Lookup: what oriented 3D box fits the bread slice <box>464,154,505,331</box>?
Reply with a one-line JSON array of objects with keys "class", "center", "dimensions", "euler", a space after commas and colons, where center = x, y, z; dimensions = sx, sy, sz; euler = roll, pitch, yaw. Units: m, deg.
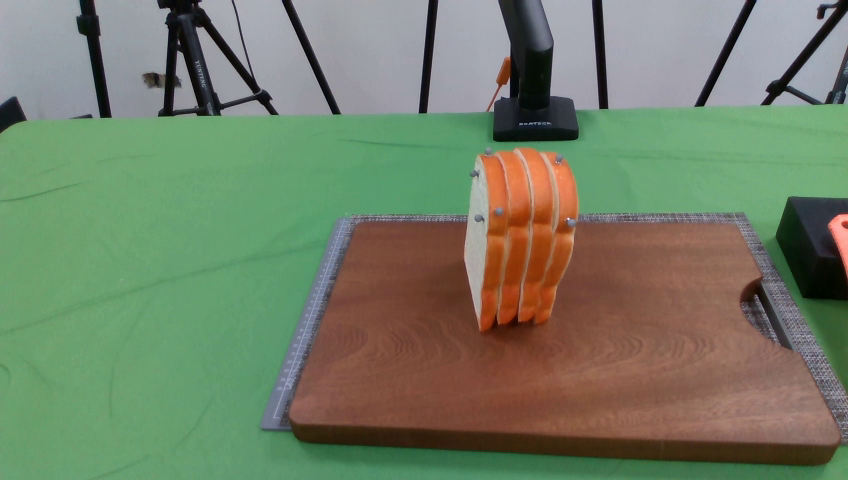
[{"class": "bread slice", "center": [0.052, -0.006, 0.529], "dimensions": [0.018, 0.135, 0.106], "euler": [-2, 33, -4]}]

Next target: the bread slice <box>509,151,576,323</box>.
[{"class": "bread slice", "center": [0.102, -0.008, 0.528], "dimensions": [0.019, 0.132, 0.104], "euler": [1, 38, -8]}]

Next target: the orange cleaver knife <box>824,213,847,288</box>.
[{"class": "orange cleaver knife", "center": [0.382, 0.056, 0.504], "dimensions": [0.077, 0.012, 0.210], "euler": [11, 58, 13]}]
